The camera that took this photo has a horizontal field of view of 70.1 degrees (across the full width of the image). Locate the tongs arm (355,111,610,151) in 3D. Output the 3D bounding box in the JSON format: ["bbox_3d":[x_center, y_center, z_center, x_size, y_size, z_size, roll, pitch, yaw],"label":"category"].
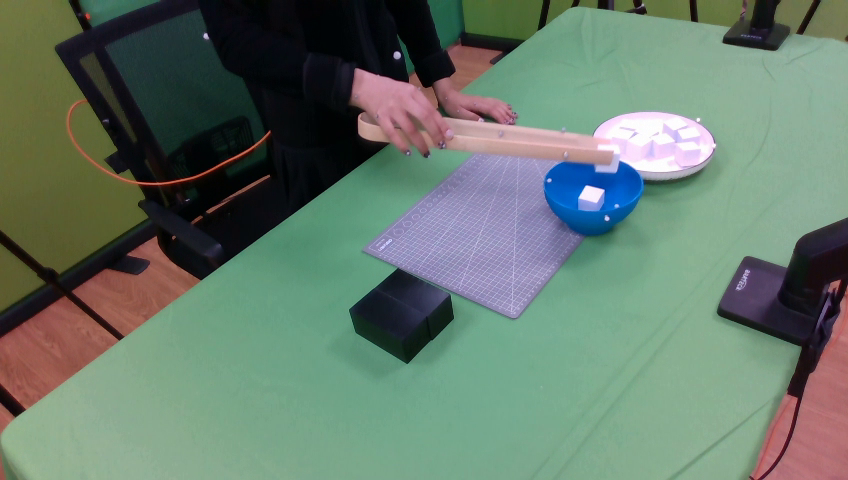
[{"bbox_3d":[0.087,-0.157,0.920,0.384,0.026,0.050,10,37,8],"label":"tongs arm"}]

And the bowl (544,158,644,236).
[{"bbox_3d":[0.266,-0.061,0.957,0.151,0.077,0.150,-5,40,5],"label":"bowl"}]

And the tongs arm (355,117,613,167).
[{"bbox_3d":[0.083,-0.144,0.901,0.387,0.028,0.028,8,40,4],"label":"tongs arm"}]

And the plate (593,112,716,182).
[{"bbox_3d":[0.408,-0.163,1.084,0.207,0.039,0.206,-4,40,4],"label":"plate"}]
